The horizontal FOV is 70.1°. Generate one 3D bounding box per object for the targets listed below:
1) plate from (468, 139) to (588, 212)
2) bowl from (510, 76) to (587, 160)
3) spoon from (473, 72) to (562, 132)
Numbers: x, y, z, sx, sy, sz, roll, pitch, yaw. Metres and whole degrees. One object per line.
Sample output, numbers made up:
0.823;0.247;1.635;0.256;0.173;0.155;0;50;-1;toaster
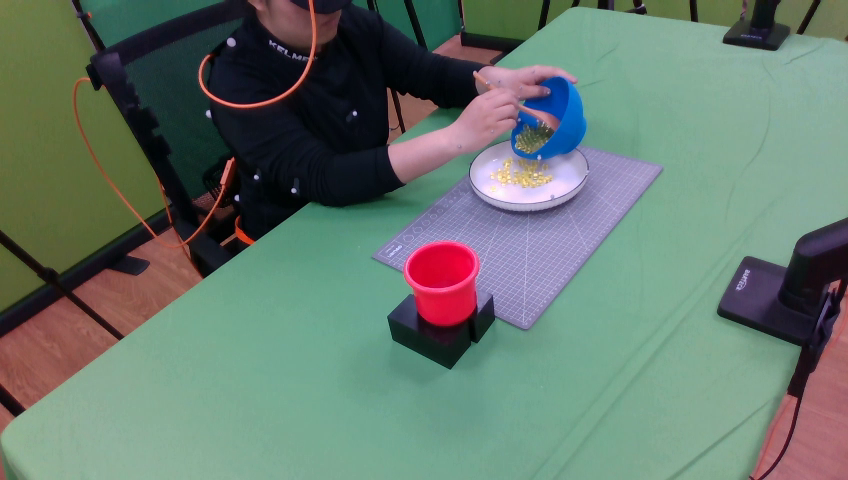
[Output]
0.182;-0.111;1.064;0.207;0.039;0.206;-5;40;5;plate
0.229;-0.200;1.052;0.077;0.151;0.150;23;31;-27;bowl
0.163;-0.230;1.027;0.194;0.021;0.041;27;42;-9;spoon
